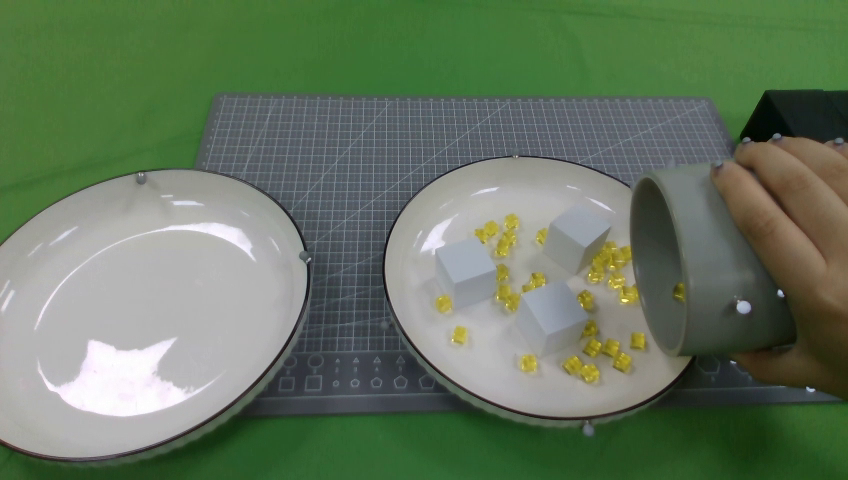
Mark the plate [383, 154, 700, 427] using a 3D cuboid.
[{"bbox_3d":[0.077,0.028,0.402,0.208,0.039,0.205,2,51,-2],"label":"plate"}]

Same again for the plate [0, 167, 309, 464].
[{"bbox_3d":[-0.175,0.039,0.379,0.209,0.038,0.207,1,52,-1],"label":"plate"}]

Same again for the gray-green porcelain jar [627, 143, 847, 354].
[{"bbox_3d":[0.189,0.004,0.333,0.126,0.107,0.105,-7,51,6],"label":"gray-green porcelain jar"}]
